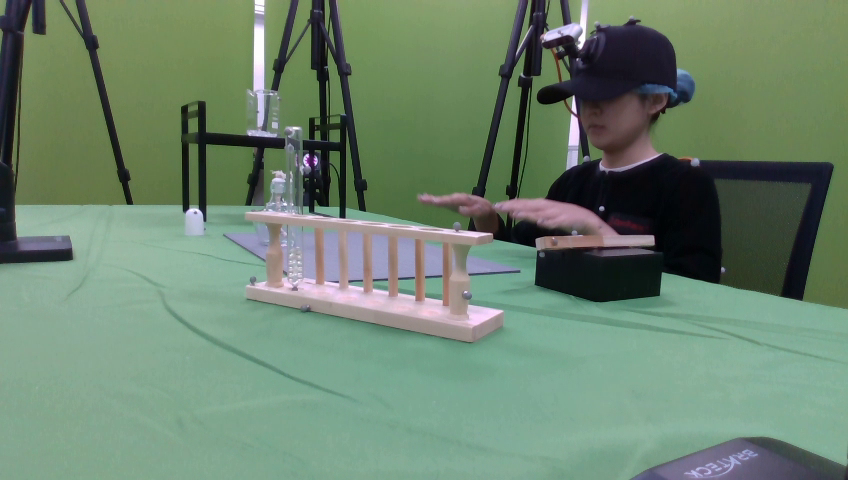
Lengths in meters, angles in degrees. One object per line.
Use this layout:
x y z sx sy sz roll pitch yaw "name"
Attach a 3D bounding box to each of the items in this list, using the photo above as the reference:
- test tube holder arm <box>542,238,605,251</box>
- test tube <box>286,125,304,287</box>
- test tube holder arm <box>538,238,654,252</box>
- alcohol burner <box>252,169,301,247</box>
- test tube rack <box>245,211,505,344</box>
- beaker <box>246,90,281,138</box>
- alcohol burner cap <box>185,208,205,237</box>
0.166 0.005 0.666 0.088 0.015 0.010 0 -1 -32 "test tube holder arm"
-0.119 -0.030 0.558 0.017 0.150 0.017 2 12 0 "test tube"
0.202 0.005 0.695 0.179 0.015 0.013 0 -1 -32 "test tube holder arm"
-0.228 -0.050 0.937 0.078 0.119 0.078 1 7 0 "alcohol burner"
-0.049 0.025 0.547 0.241 0.085 0.067 7 8 29 "test tube rack"
-0.354 -0.275 1.322 0.074 0.100 0.084 4 8 12 "beaker"
-0.391 -0.031 1.032 0.034 0.048 0.034 3 8 0 "alcohol burner cap"
